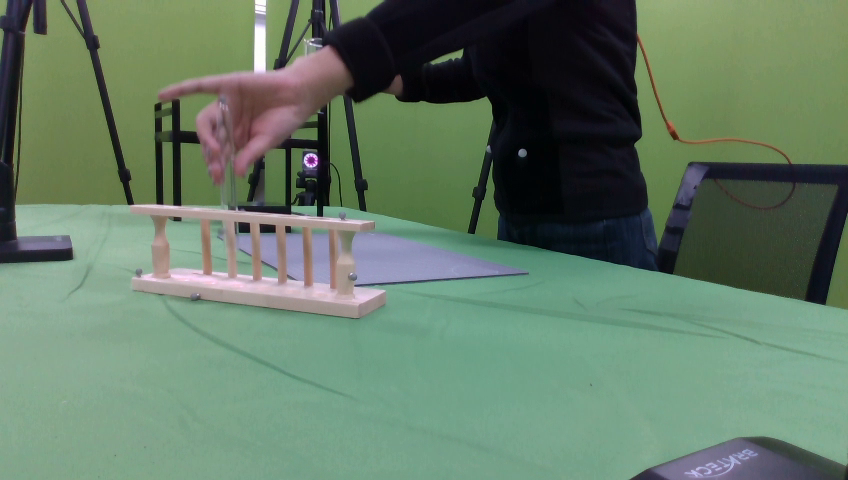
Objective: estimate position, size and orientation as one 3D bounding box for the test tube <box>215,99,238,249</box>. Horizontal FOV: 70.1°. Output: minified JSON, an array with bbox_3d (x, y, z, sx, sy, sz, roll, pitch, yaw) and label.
[{"bbox_3d":[-0.199,-0.066,0.612,0.017,0.150,0.017,-1,6,0],"label":"test tube"}]

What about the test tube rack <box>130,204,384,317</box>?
[{"bbox_3d":[-0.162,0.013,0.589,0.242,0.085,0.067,5,8,17],"label":"test tube rack"}]

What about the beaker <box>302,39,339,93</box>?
[{"bbox_3d":[-0.217,-0.359,1.252,0.073,0.100,0.084,6,8,31],"label":"beaker"}]
